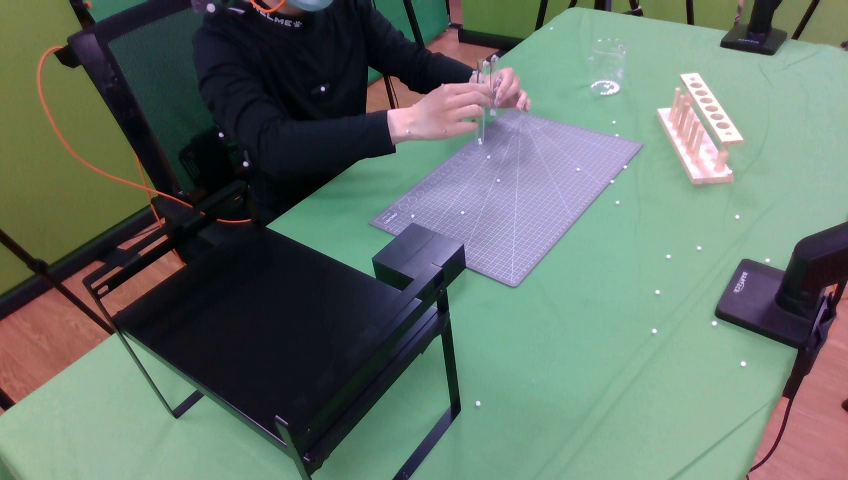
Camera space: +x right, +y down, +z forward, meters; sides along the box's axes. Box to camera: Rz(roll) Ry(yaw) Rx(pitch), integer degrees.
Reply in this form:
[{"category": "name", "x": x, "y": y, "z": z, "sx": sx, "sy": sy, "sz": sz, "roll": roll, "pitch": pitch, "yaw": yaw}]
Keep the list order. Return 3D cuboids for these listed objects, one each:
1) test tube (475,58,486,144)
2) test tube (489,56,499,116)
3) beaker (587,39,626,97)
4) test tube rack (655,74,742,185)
[{"category": "test tube", "x": 0.096, "y": -0.234, "z": 1.032, "sx": 0.017, "sy": 0.151, "sz": 0.017, "roll": -1, "pitch": 33, "yaw": 1}, {"category": "test tube", "x": 0.128, "y": -0.279, "z": 1.111, "sx": 0.017, "sy": 0.151, "sz": 0.017, "roll": -2, "pitch": 62, "yaw": 4}, {"category": "beaker", "x": 0.386, "y": -0.361, "z": 1.280, "sx": 0.074, "sy": 0.101, "sz": 0.083, "roll": -22, "pitch": 43, "yaw": -15}, {"category": "test tube rack", "x": 0.488, "y": -0.205, "z": 1.093, "sx": 0.067, "sy": 0.085, "sz": 0.241, "roll": -3, "pitch": 41, "yaw": 5}]
